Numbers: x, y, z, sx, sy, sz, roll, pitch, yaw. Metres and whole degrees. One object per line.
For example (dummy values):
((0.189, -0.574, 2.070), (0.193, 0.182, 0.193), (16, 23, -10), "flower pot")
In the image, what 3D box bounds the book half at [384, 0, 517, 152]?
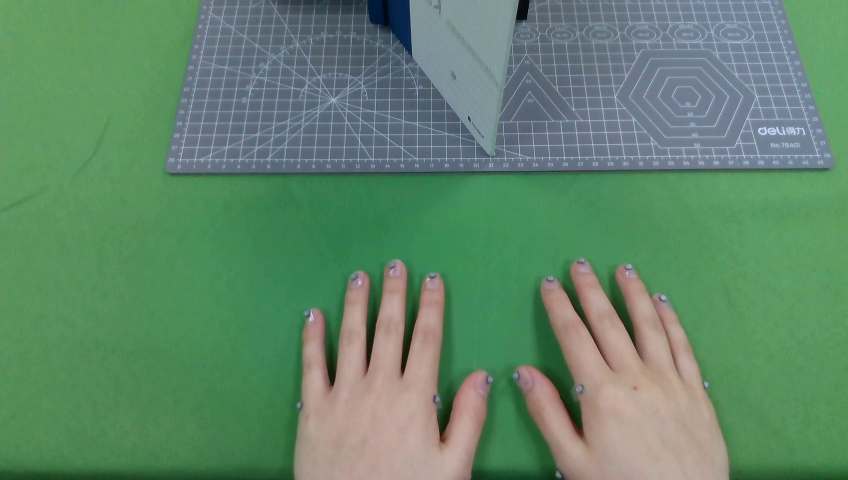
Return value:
((0.008, -0.157, 0.341), (0.007, 0.211, 0.142), (-29, 68, -14), "book half")

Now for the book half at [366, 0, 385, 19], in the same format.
((-0.024, -0.276, 0.395), (0.016, 0.212, 0.147), (9, 65, 5), "book half")
